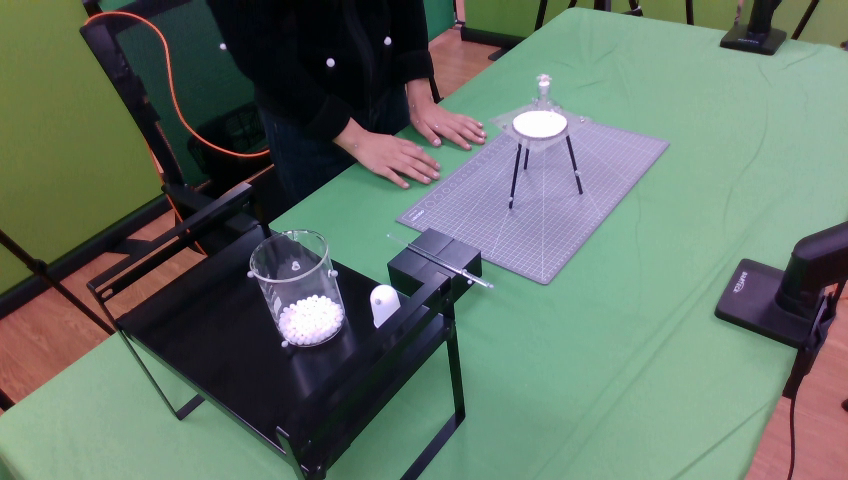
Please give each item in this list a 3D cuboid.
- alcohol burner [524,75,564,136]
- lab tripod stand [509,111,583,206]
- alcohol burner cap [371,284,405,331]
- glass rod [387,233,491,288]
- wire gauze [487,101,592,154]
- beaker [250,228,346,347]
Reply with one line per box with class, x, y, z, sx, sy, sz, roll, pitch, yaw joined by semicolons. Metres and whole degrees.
alcohol burner;0.232;-0.263;1.174;0.078;0.119;0.077;-6;39;5
lab tripod stand;0.197;-0.139;1.020;0.148;0.132;0.147;-3;39;3
alcohol burner cap;-0.037;0.065;0.608;0.034;0.048;0.033;-4;42;4
glass rod;0.017;0.027;0.877;0.198;0.008;0.008;26;51;34
wire gauze;0.185;-0.188;0.974;0.122;0.011;0.124;-27;44;-23
beaker;-0.120;0.048;0.598;0.074;0.101;0.083;-9;40;-1
